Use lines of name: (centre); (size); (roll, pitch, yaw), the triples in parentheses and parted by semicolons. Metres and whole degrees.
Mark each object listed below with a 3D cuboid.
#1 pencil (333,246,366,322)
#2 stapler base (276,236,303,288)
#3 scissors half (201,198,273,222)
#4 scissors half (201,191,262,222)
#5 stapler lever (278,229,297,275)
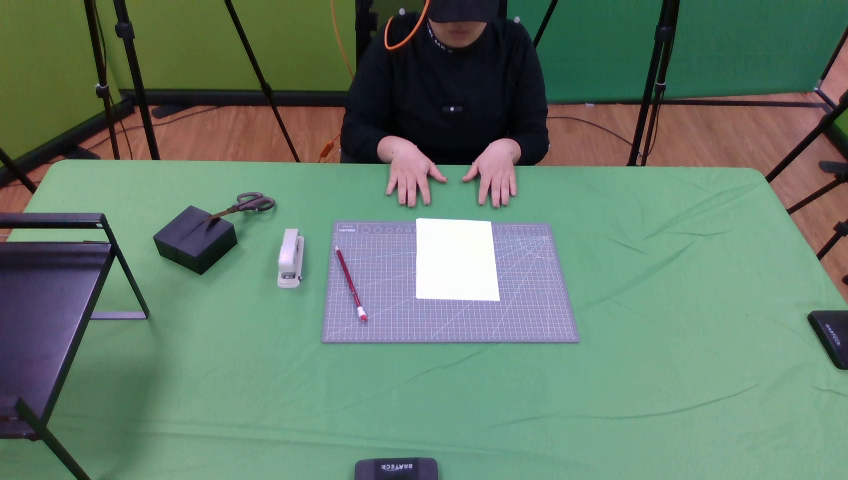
pencil: (-0.140, 0.076, 1.117); (0.012, 0.012, 0.192); (-14, 48, -17)
stapler base: (-0.254, 0.034, 1.144); (0.041, 0.024, 0.129); (1, 44, -7)
scissors half: (-0.365, -0.055, 1.192); (0.040, 0.013, 0.175); (39, 32, 22)
scissors half: (-0.381, -0.066, 1.198); (0.040, 0.013, 0.175); (25, 28, 9)
stapler lever: (-0.253, 0.016, 1.128); (0.027, 0.040, 0.117); (1, 45, -7)
